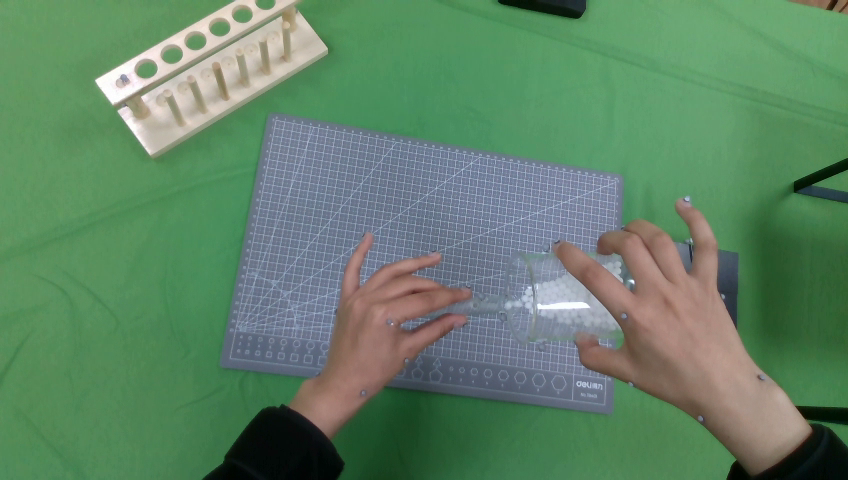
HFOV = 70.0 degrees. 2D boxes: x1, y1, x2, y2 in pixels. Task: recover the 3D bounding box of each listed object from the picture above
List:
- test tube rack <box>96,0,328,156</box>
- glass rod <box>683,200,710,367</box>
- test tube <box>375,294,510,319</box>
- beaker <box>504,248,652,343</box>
[{"bbox_3d":[-0.226,-0.198,0.681,0.242,0.085,0.066,-36,85,-15],"label":"test tube rack"},{"bbox_3d":[0.321,0.048,0.714,0.008,0.008,0.199,0,78,-10],"label":"glass rod"},{"bbox_3d":[0.012,0.062,0.561,0.017,0.149,0.017,13,73,-51],"label":"test tube"},{"bbox_3d":[0.121,0.045,0.488,0.100,0.084,0.073,0,78,-10],"label":"beaker"}]
